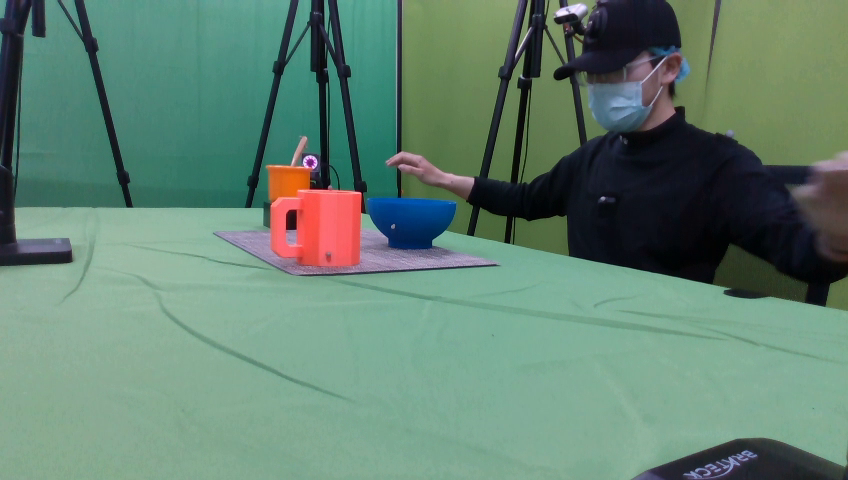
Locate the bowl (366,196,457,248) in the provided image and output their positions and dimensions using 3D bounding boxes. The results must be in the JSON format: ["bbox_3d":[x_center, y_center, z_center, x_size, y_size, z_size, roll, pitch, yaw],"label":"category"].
[{"bbox_3d":[-0.022,-0.030,1.001,0.151,0.077,0.151,2,7,0],"label":"bowl"}]

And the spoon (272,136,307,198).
[{"bbox_3d":[-0.269,-0.152,1.242,0.041,0.193,0.022,1,-37,12],"label":"spoon"}]

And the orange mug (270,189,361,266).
[{"bbox_3d":[-0.142,-0.019,0.796,0.127,0.100,0.083,2,6,-39],"label":"orange mug"}]
